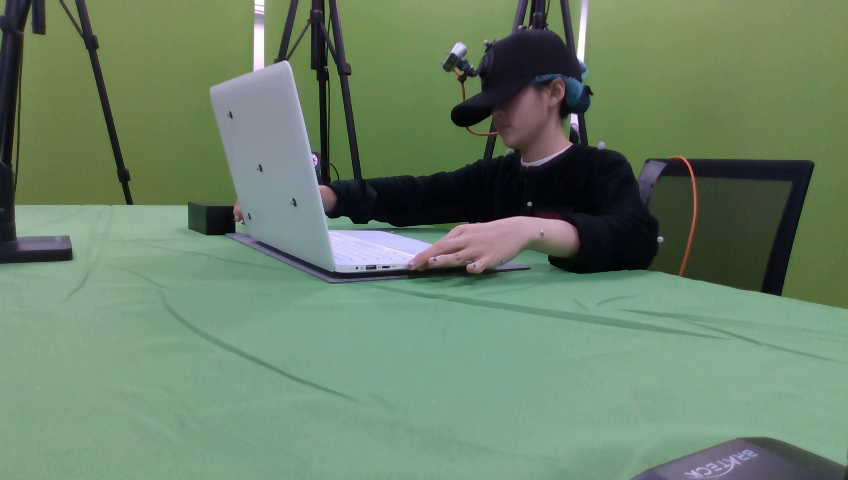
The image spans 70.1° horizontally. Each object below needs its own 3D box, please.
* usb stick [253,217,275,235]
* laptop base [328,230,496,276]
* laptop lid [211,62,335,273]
[{"bbox_3d":[-0.263,-0.022,1.003,0.021,0.027,0.059,4,8,-34],"label":"usb stick"},{"bbox_3d":[-0.091,0.016,0.884,0.237,0.023,0.352,3,7,-32],"label":"laptop base"},{"bbox_3d":[-0.211,-0.095,0.791,0.013,0.241,0.355,-18,18,-29],"label":"laptop lid"}]
